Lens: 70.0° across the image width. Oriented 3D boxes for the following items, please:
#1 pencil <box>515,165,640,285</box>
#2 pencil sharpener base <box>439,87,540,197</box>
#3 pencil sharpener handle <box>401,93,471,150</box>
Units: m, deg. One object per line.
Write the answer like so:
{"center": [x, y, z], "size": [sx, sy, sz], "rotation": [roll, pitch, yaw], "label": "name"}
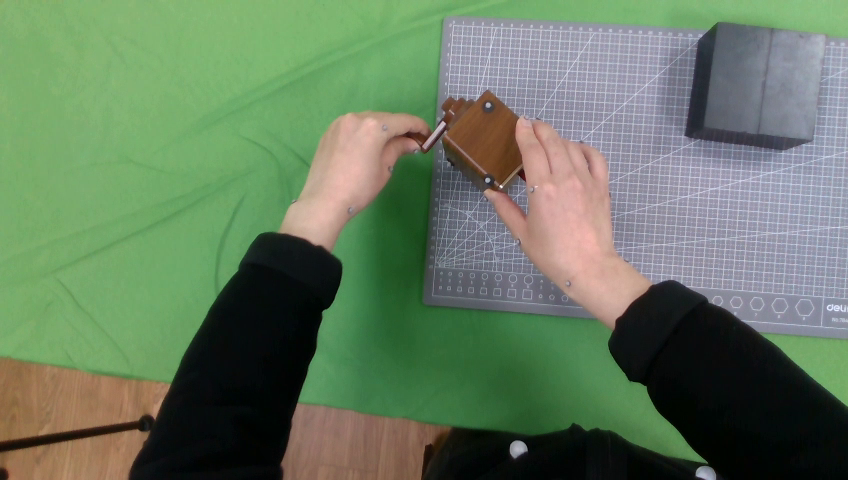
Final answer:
{"center": [0.122, -0.028, 0.547], "size": [0.194, 0.012, 0.012], "rotation": [44, 92, 0], "label": "pencil"}
{"center": [0.058, -0.090, 0.574], "size": [0.076, 0.107, 0.061], "rotation": [43, 92, 4], "label": "pencil sharpener base"}
{"center": [0.009, -0.115, 0.553], "size": [0.030, 0.036, 0.068], "rotation": [43, 110, 3], "label": "pencil sharpener handle"}
